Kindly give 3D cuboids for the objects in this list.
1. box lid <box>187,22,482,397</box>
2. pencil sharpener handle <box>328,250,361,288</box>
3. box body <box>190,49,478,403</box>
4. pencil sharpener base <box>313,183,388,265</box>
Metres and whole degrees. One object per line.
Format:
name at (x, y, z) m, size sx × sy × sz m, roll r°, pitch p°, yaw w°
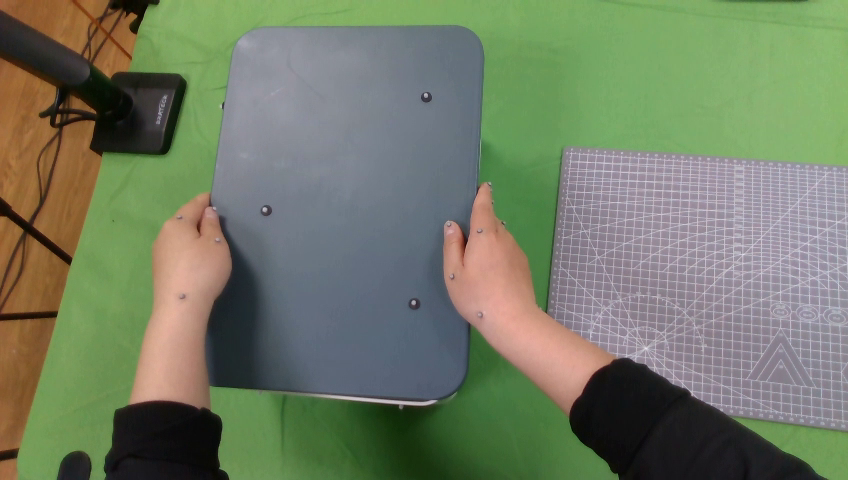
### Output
box lid at (-0.081, -0.044, 0.583) m, size 0.263 × 0.015 × 0.369 m, roll 2°, pitch 77°, yaw 7°
pencil sharpener handle at (-0.089, 0.033, 0.677) m, size 0.036 × 0.068 × 0.030 m, roll 3°, pitch 75°, yaw -1°
box body at (-0.075, -0.009, 0.677) m, size 0.254 × 0.161 × 0.362 m, roll 3°, pitch 74°, yaw 9°
pencil sharpener base at (-0.082, -0.013, 0.701) m, size 0.061 × 0.108 × 0.076 m, roll 1°, pitch 75°, yaw 8°
